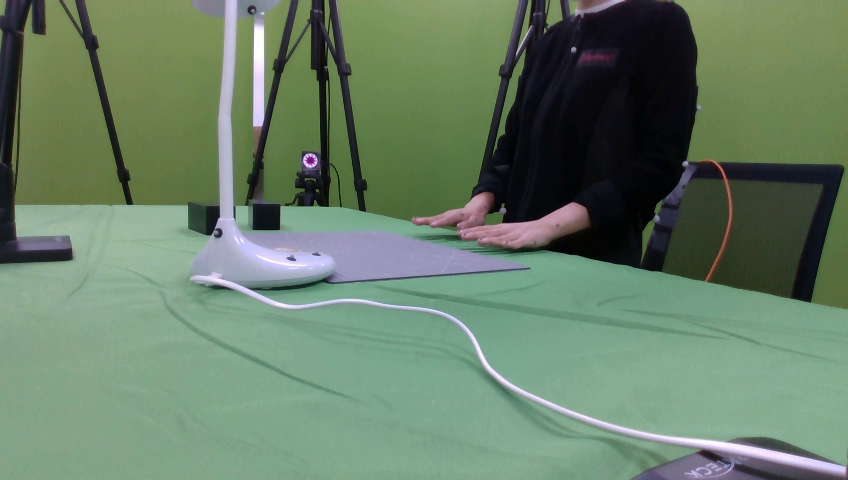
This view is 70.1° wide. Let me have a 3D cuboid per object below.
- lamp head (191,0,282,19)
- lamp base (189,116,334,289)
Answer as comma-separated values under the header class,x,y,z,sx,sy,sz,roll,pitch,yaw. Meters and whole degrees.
class,x,y,z,sx,sy,sz,roll,pitch,yaw
lamp head,-0.222,-0.330,0.689,0.112,0.112,0.123,3,-33,-4
lamp base,-0.185,-0.044,0.669,0.160,0.180,0.179,3,10,14
